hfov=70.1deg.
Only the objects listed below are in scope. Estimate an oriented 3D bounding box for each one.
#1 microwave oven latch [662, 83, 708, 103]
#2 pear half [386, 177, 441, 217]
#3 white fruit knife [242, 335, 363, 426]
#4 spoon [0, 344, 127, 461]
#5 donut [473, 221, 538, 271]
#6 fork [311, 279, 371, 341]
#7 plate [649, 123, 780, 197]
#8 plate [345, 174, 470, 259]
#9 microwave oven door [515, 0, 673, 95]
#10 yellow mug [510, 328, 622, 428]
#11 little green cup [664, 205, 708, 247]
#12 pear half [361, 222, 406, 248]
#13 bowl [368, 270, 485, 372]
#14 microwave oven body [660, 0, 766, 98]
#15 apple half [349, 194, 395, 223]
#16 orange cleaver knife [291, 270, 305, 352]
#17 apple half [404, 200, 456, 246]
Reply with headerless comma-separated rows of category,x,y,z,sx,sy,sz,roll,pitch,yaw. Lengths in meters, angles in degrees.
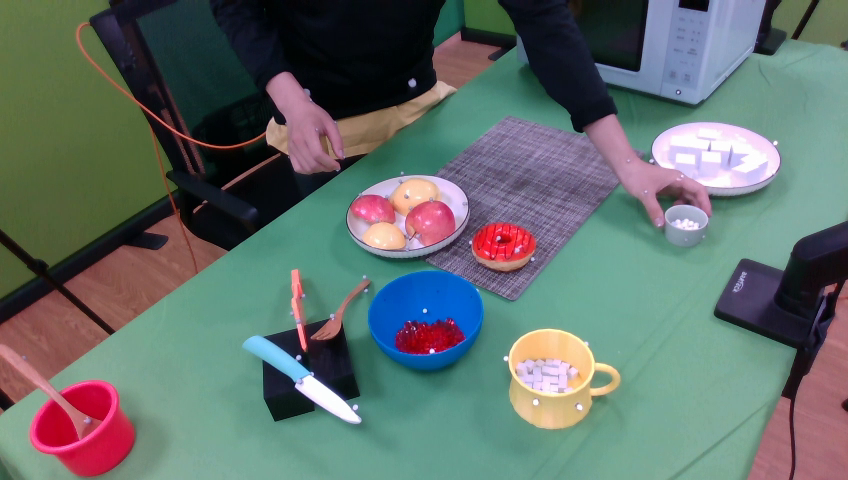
microwave oven latch,0.518,-0.296,1.204,0.078,0.029,0.030,28,52,35
pear half,-0.030,-0.079,1.033,0.109,0.056,0.076,-1,36,16
white fruit knife,-0.148,0.167,0.730,0.206,0.016,0.027,26,79,31
spoon,-0.433,0.191,0.721,0.194,0.021,0.042,47,53,-6
donut,0.123,0.008,0.923,0.099,0.048,0.098,-3,38,3
fork,-0.108,0.092,0.832,0.028,0.019,0.207,-6,19,15
plate,0.497,-0.135,1.046,0.207,0.039,0.206,-4,40,4
plate,-0.026,-0.037,1.004,0.209,0.038,0.208,-4,40,4
microwave oven door,0.344,-0.455,1.259,0.353,0.245,0.039,26,52,33
yellow mug,0.169,0.164,0.722,0.130,0.064,0.099,0,40,8
little green cup,0.398,-0.020,0.925,0.061,0.039,0.061,-3,41,3
pear half,-0.064,-0.013,0.959,0.071,0.031,0.087,5,21,-24
bowl,0.007,0.118,0.791,0.151,0.077,0.150,-5,40,4
microwave oven body,0.472,-0.513,1.317,0.438,0.261,0.327,26,51,34
apple half,-0.081,-0.057,1.008,0.081,0.033,0.081,12,24,-5
orange cleaver knife,-0.175,0.094,0.844,0.012,0.077,0.210,-11,14,-10
apple half,0.009,-0.035,0.969,0.075,0.053,0.080,-27,40,-22
